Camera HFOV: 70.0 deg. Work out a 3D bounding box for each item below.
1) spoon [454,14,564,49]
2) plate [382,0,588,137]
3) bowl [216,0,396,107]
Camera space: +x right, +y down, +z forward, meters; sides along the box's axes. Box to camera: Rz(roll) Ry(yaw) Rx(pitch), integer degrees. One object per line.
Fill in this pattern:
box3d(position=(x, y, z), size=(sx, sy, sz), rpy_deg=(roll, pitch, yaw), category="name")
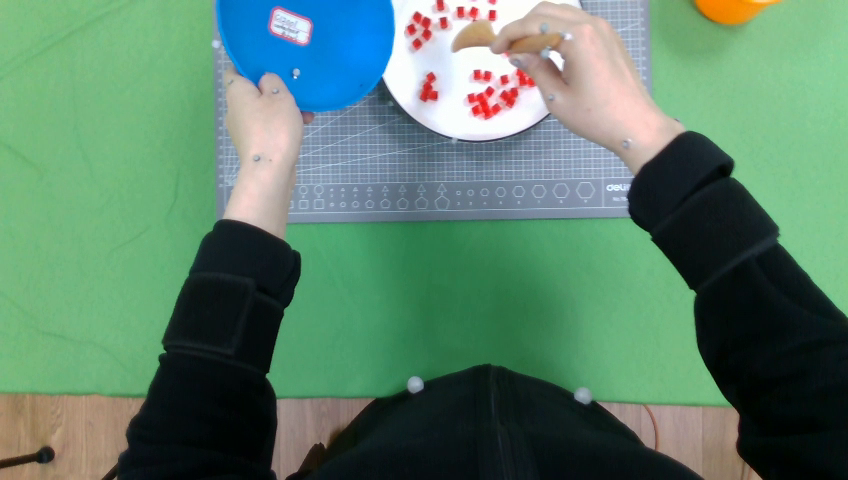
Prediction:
box3d(position=(0.064, -0.160, 0.472), size=(0.041, 0.192, 0.022), rpy_deg=(-38, 118, -1), category="spoon")
box3d(position=(0.056, -0.205, 0.605), size=(0.209, 0.038, 0.209), rpy_deg=(0, 89, 3), category="plate")
box3d(position=(-0.108, -0.193, 0.531), size=(0.152, 0.076, 0.152), rpy_deg=(-6, 104, -25), category="bowl")
